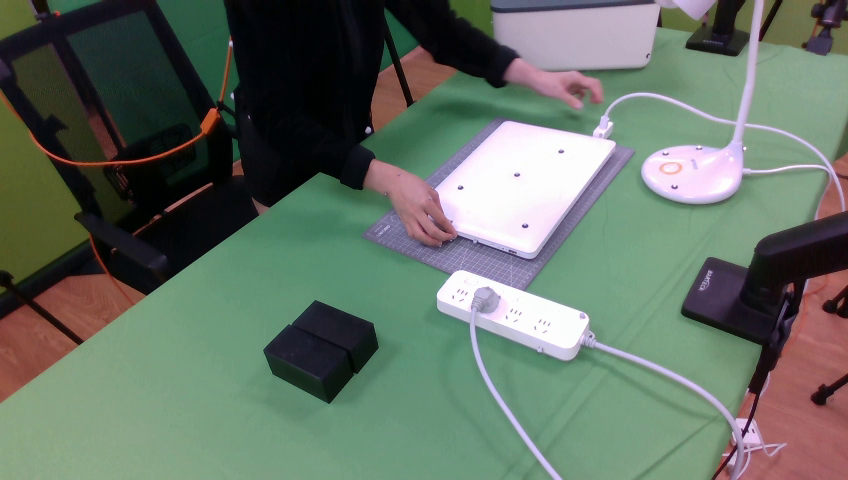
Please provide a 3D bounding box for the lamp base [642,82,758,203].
[{"bbox_3d":[0.464,-0.174,0.993,0.179,0.181,0.159,-5,41,-2],"label":"lamp base"}]

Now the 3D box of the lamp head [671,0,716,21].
[{"bbox_3d":[0.375,-0.373,0.807,0.122,0.113,0.112,-40,27,32],"label":"lamp head"}]

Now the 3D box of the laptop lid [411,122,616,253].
[{"bbox_3d":[0.165,-0.111,1.067,0.240,0.013,0.357,19,46,31],"label":"laptop lid"}]

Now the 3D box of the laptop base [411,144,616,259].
[{"bbox_3d":[0.168,-0.102,1.074,0.234,0.023,0.355,17,46,30],"label":"laptop base"}]

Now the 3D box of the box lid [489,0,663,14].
[{"bbox_3d":[0.340,-0.575,1.380,0.371,0.015,0.262,0,41,9],"label":"box lid"}]

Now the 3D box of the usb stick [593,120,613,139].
[{"bbox_3d":[0.336,-0.201,1.147,0.021,0.027,0.059,26,53,27],"label":"usb stick"}]

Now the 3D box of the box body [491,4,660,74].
[{"bbox_3d":[0.346,-0.520,1.429,0.363,0.161,0.253,0,41,9],"label":"box body"}]

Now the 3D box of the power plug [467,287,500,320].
[{"bbox_3d":[0.073,0.092,0.814,0.035,0.053,0.073,29,54,34],"label":"power plug"}]

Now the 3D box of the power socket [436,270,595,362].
[{"bbox_3d":[0.118,0.101,0.832,0.225,0.033,0.072,19,48,27],"label":"power socket"}]

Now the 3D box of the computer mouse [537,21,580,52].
[{"bbox_3d":[0.335,-0.503,1.487,0.118,0.041,0.062,21,20,-28],"label":"computer mouse"}]
